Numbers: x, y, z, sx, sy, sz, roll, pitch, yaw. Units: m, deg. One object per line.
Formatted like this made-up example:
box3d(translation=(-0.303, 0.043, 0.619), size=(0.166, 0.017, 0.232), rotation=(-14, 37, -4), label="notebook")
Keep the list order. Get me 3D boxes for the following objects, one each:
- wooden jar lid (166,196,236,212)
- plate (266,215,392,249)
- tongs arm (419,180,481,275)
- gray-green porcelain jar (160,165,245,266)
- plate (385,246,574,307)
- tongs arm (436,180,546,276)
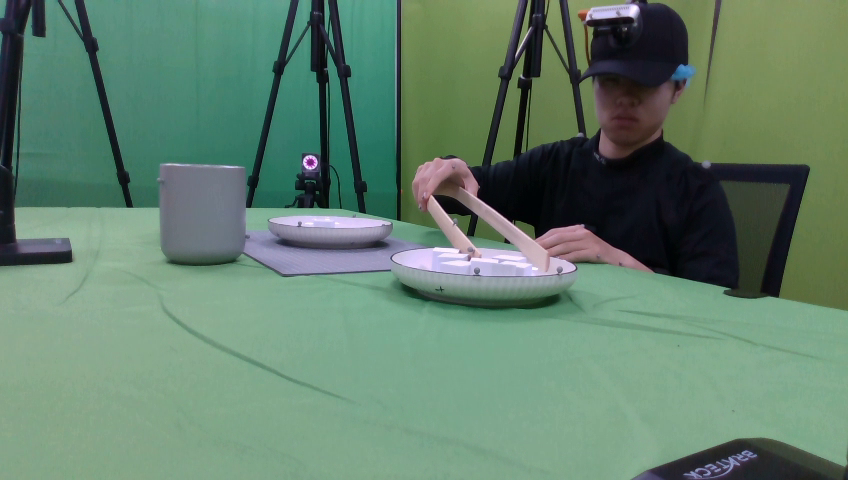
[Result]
box3d(translation=(-0.369, -0.059, 1.001), size=(0.108, 0.020, 0.108), rotation=(3, 6, 0), label="wooden jar lid")
box3d(translation=(-0.159, -0.015, 1.019), size=(0.209, 0.038, 0.209), rotation=(3, 7, 0), label="plate")
box3d(translation=(0.039, -0.031, 0.853), size=(0.051, 0.026, 0.383), rotation=(1, 18, -14), label="tongs arm")
box3d(translation=(-0.291, -0.034, 0.799), size=(0.106, 0.126, 0.106), rotation=(2, 8, 0), label="gray-green porcelain jar")
box3d(translation=(0.060, 0.041, 0.678), size=(0.208, 0.039, 0.207), rotation=(2, 7, 0), label="plate")
box3d(translation=(0.084, -0.029, 0.864), size=(0.028, 0.028, 0.386), rotation=(-3, 19, -15), label="tongs arm")
